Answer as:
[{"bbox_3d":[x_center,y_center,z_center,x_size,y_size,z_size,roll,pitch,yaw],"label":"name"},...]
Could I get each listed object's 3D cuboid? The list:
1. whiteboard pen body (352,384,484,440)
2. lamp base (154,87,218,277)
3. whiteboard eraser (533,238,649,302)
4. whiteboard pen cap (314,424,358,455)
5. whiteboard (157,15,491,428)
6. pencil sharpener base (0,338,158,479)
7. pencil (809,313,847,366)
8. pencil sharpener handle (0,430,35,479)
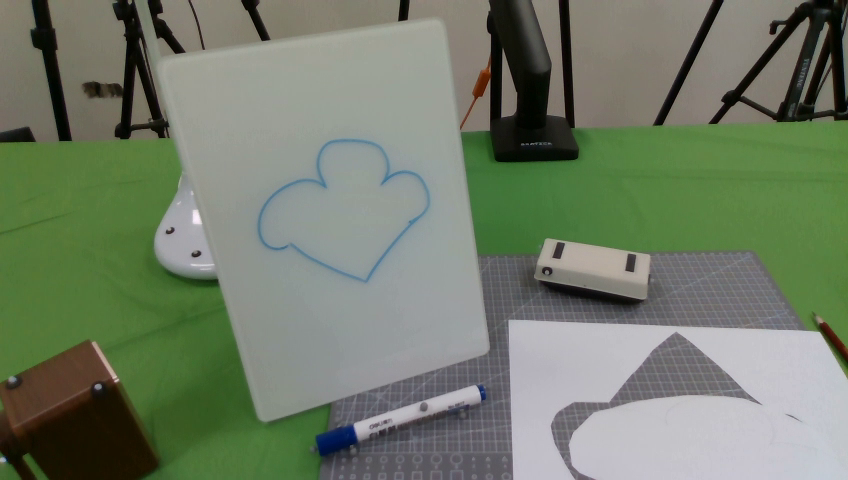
[{"bbox_3d":[-0.016,0.146,0.504,0.141,0.017,0.017,-14,38,-14],"label":"whiteboard pen body"},{"bbox_3d":[-0.250,-0.075,0.686,0.177,0.182,0.160,26,45,35],"label":"lamp base"},{"bbox_3d":[0.175,0.032,0.633,0.112,0.042,0.055,11,39,16],"label":"whiteboard eraser"},{"bbox_3d":[-0.071,0.161,0.489,0.033,0.018,0.018,-15,38,-14],"label":"whiteboard pen cap"},{"bbox_3d":[-0.081,-0.026,0.556,0.218,0.307,0.142,-14,19,-14],"label":"whiteboard"},{"bbox_3d":[-0.261,0.142,0.457,0.077,0.108,0.061,-29,45,-30],"label":"pencil sharpener base"},{"bbox_3d":[0.389,0.128,0.527,0.012,0.012,0.192,-3,35,0],"label":"pencil"},{"bbox_3d":[-0.298,0.154,0.421,0.030,0.068,0.035,-29,32,-30],"label":"pencil sharpener handle"}]
